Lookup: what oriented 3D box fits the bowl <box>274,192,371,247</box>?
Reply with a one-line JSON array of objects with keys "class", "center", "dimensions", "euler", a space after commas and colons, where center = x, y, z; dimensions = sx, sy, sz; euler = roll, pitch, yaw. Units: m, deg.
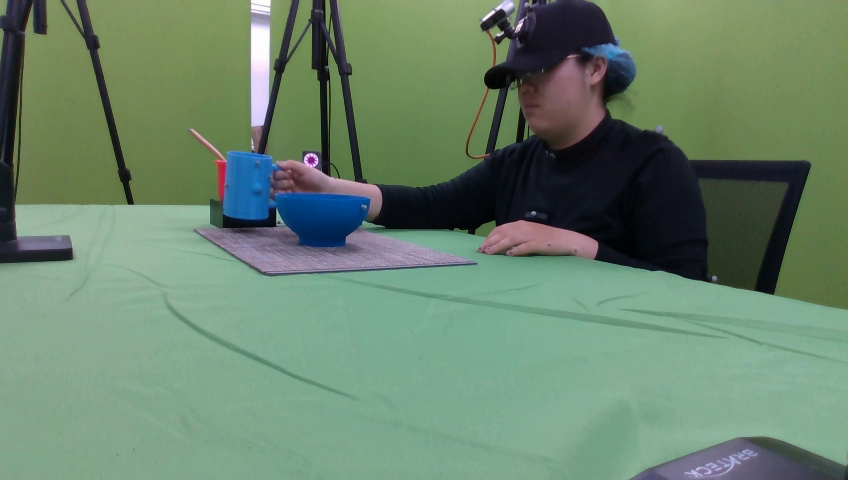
[{"class": "bowl", "center": [-0.161, -0.032, 0.959], "dimensions": [0.151, 0.077, 0.151], "euler": [3, 8, 0]}]

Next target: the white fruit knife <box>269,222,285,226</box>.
[{"class": "white fruit knife", "center": [-0.222, -0.038, 1.261], "dimensions": [0.208, 0.016, 0.027], "euler": [-4, -17, -32]}]

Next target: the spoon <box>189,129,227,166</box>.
[{"class": "spoon", "center": [-0.388, -0.150, 1.174], "dimensions": [0.193, 0.021, 0.042], "euler": [48, 20, 7]}]

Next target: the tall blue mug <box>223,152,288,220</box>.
[{"class": "tall blue mug", "center": [-0.303, -0.097, 1.074], "dimensions": [0.077, 0.108, 0.107], "euler": [12, 12, 20]}]
